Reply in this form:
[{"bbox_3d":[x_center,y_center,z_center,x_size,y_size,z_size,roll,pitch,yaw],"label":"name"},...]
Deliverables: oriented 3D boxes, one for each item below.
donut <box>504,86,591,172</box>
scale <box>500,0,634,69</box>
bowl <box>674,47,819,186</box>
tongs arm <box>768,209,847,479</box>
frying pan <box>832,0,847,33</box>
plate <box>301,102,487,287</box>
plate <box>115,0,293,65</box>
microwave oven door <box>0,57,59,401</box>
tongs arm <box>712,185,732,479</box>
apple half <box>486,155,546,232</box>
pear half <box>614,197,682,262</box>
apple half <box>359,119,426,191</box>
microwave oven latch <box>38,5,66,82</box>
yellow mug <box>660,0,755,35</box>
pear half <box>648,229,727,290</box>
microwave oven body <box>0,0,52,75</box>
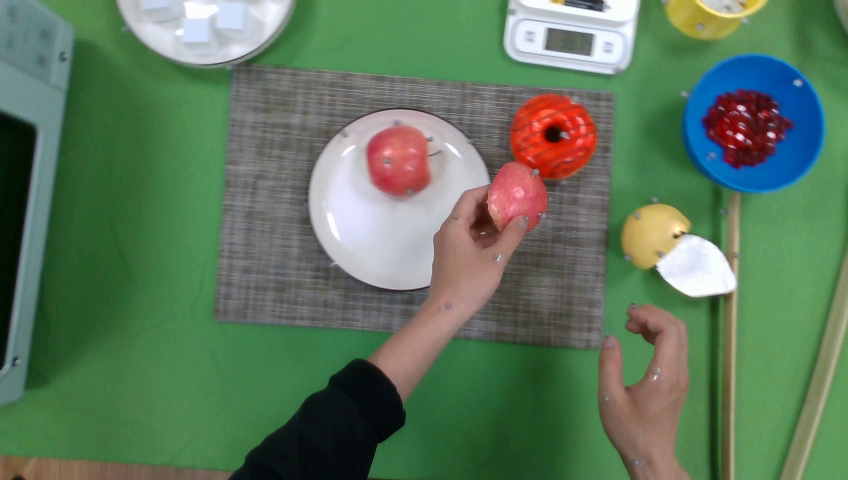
[{"bbox_3d":[0.140,-0.126,0.692,0.099,0.048,0.099,0,88,2],"label":"donut"},{"bbox_3d":[0.174,-0.309,0.710,0.149,0.031,0.200,8,88,0],"label":"scale"},{"bbox_3d":[0.346,-0.130,0.682,0.151,0.077,0.151,0,88,0],"label":"bowl"},{"bbox_3d":[0.440,0.145,0.699,0.028,0.027,0.387,19,88,-8],"label":"tongs arm"},{"bbox_3d":[0.642,-0.222,0.677,0.307,0.103,0.485,-23,80,-1],"label":"frying pan"},{"bbox_3d":[-0.032,-0.051,0.690,0.209,0.038,0.209,0,87,-1],"label":"plate"},{"bbox_3d":[-0.250,-0.302,0.701,0.208,0.039,0.207,0,87,-1],"label":"plate"},{"bbox_3d":[-0.451,-0.008,0.566,0.039,0.244,0.355,6,87,0],"label":"microwave oven door"},{"bbox_3d":[0.355,0.130,0.693,0.051,0.026,0.384,4,88,-6],"label":"tongs arm"},{"bbox_3d":[0.100,-0.045,0.612,0.082,0.032,0.081,-2,93,-42],"label":"apple half"},{"bbox_3d":[0.243,-0.017,0.660,0.056,0.110,0.076,36,83,3],"label":"pear half"},{"bbox_3d":[-0.036,-0.097,0.674,0.074,0.053,0.081,-2,91,1],"label":"apple half"},{"bbox_3d":[-0.423,-0.220,0.677,0.030,0.029,0.079,9,88,-1],"label":"microwave oven latch"},{"bbox_3d":[0.323,-0.311,0.695,0.100,0.064,0.130,-28,87,-1],"label":"yellow mug"},{"bbox_3d":[0.301,0.026,0.697,0.087,0.031,0.070,31,85,15],"label":"pear half"},{"bbox_3d":[-0.591,-0.067,0.572,0.326,0.260,0.441,7,88,-1],"label":"microwave oven body"}]
